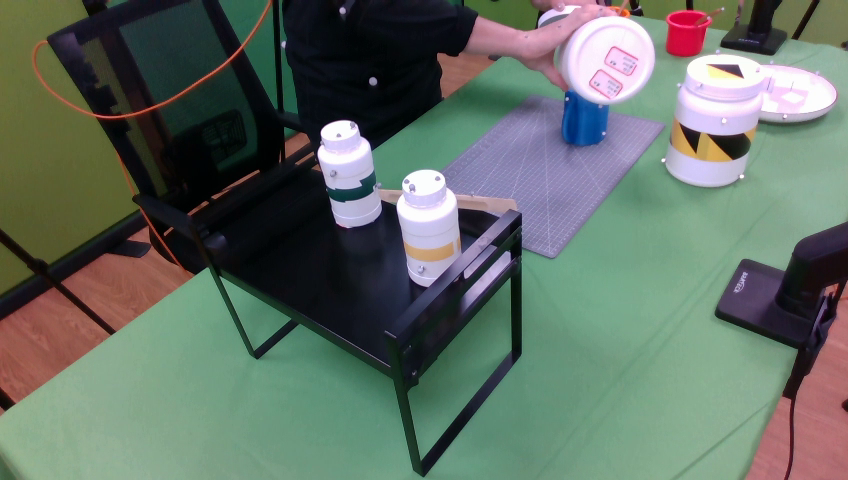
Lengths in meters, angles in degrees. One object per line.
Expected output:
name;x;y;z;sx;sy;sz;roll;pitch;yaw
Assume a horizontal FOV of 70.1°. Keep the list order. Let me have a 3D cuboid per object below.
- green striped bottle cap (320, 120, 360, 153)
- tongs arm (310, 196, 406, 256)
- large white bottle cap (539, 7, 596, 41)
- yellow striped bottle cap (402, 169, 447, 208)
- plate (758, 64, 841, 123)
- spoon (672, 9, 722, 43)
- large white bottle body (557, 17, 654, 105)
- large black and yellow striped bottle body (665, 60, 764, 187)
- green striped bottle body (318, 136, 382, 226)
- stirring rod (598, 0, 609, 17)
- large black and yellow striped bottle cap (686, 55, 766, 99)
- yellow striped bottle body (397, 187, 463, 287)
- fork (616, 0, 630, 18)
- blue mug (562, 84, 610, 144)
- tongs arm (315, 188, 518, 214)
green striped bottle cap;-0.097;-0.120;0.699;0.044;0.020;0.044;-3;40;3
tongs arm;-0.078;-0.012;0.944;0.028;0.028;0.384;-43;39;-22
large white bottle cap;0.286;-0.430;1.206;0.114;0.115;0.018;2;84;11
yellow striped bottle cap;0.000;-0.052;0.605;0.044;0.019;0.044;-5;43;5
plate;0.695;-0.283;1.189;0.207;0.039;0.206;-4;40;4
spoon;0.606;-0.476;1.345;0.042;0.021;0.193;-6;-3;-2
large white bottle body;0.292;-0.301;1.002;0.130;0.131;0.184;-3;20;5
large black and yellow striped bottle body;0.482;-0.196;1.008;0.131;0.185;0.130;-4;41;4
green striped bottle body;-0.090;-0.080;0.733;0.063;0.120;0.063;-5;41;4
stirring rod;0.437;-0.551;1.462;0.014;0.006;0.175;-11;83;1
large black and yellow striped bottle cap;0.474;-0.258;0.952;0.115;0.019;0.114;-5;41;5
yellow striped bottle body;0.007;-0.013;0.638;0.063;0.121;0.062;-5;41;4
fork;0.480;-0.556;1.453;0.028;0.019;0.207;41;103;40
blue mug;0.298;-0.240;1.143;0.117;0.106;0.081;-37;48;-29
tongs arm;-0.028;-0.060;0.988;0.382;0.027;0.051;9;45;36
